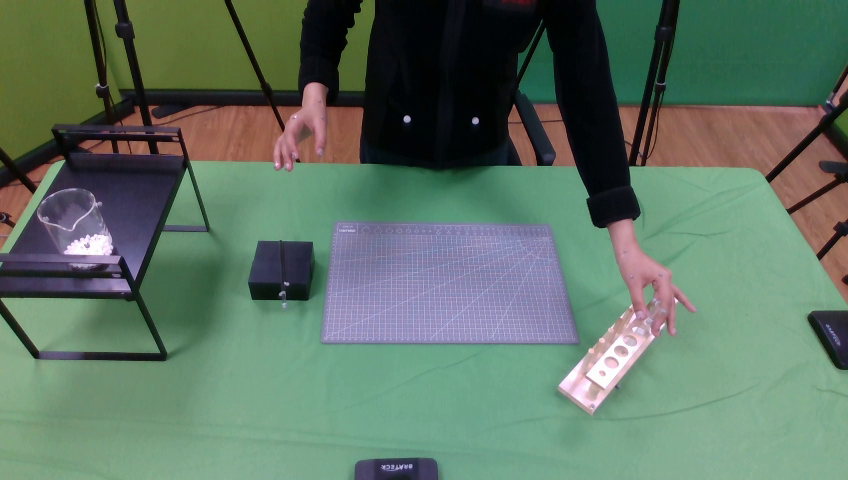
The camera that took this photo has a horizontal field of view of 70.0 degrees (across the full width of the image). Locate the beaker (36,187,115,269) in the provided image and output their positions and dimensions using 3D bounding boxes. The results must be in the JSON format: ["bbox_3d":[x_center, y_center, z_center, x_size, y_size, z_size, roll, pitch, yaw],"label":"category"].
[{"bbox_3d":[-0.493,-0.012,0.867,0.074,0.101,0.083,-18,50,-18],"label":"beaker"}]

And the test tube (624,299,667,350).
[{"bbox_3d":[0.352,0.140,0.970,0.017,0.151,0.017,3,52,-4],"label":"test tube"}]

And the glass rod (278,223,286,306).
[{"bbox_3d":[-0.255,0.039,1.081,0.008,0.008,0.198,-7,47,-10],"label":"glass rod"}]

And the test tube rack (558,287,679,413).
[{"bbox_3d":[0.327,0.170,1.009,0.066,0.085,0.242,35,54,27],"label":"test tube rack"}]
